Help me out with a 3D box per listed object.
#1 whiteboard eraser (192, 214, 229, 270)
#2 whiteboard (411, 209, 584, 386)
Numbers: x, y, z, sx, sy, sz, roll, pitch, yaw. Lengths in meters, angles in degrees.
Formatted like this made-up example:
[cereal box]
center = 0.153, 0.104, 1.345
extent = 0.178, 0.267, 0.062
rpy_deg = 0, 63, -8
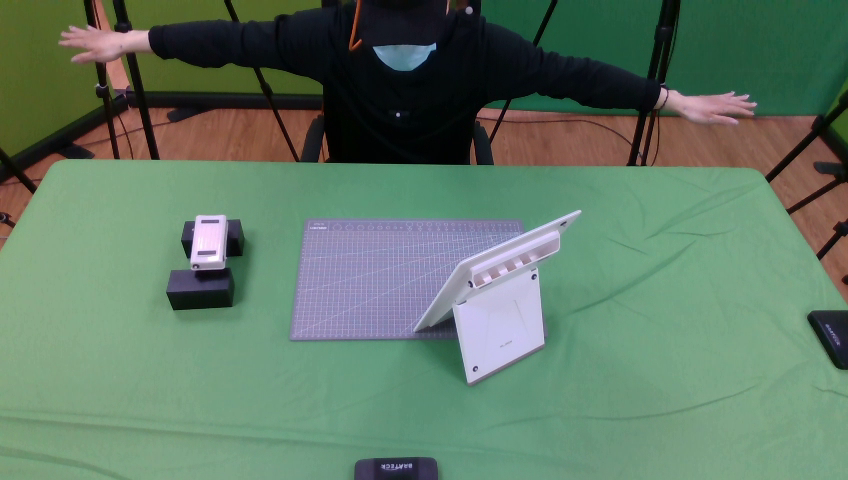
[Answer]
[whiteboard eraser]
center = -0.381, 0.005, 1.083
extent = 0.056, 0.042, 0.112
rpy_deg = 0, 50, -13
[whiteboard]
center = 0.134, 0.110, 0.944
extent = 0.217, 0.306, 0.143
rpy_deg = -21, 72, -23
